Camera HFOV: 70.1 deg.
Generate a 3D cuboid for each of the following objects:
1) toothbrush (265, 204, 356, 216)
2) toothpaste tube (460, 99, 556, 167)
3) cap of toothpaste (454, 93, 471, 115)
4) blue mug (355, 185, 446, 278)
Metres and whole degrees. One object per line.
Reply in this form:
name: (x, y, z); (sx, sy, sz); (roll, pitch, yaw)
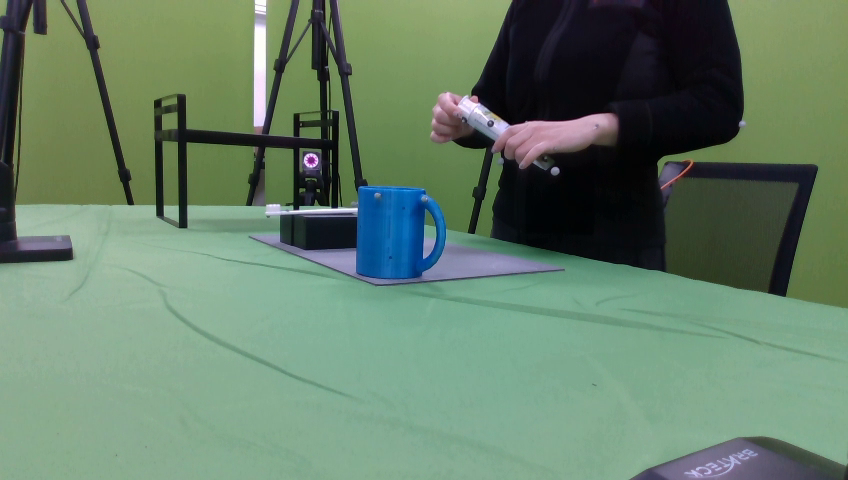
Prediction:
toothbrush: (-0.160, -0.048, 0.937); (0.183, 0.016, 0.014); (-4, 4, -39)
toothpaste tube: (0.123, -0.161, 0.910); (0.165, 0.034, 0.055); (35, 38, 10)
cap of toothpaste: (0.061, -0.207, 0.925); (0.011, 0.037, 0.037); (35, 15, 11)
blue mug: (-0.027, -0.011, 0.723); (0.116, 0.106, 0.083); (6, 8, 27)
